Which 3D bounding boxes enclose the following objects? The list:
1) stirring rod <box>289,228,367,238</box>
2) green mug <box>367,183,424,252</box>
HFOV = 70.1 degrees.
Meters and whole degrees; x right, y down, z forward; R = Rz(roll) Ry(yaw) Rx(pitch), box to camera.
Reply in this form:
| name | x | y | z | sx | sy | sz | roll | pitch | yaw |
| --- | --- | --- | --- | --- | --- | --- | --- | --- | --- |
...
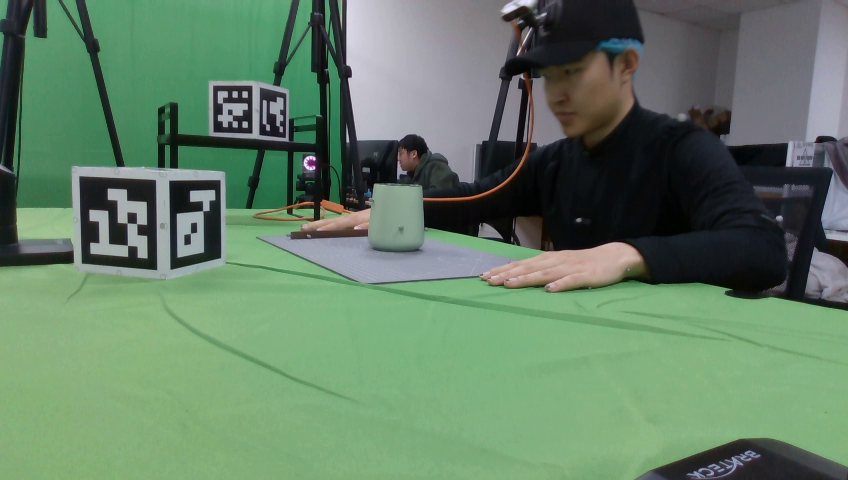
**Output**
| name | x | y | z | sx | sy | sz | roll | pitch | yaw |
| --- | --- | --- | --- | --- | --- | --- | --- | --- | --- |
| stirring rod | -0.161 | -0.013 | 1.093 | 0.177 | 0.014 | 0.006 | -3 | 3 | -36 |
| green mug | -0.053 | -0.039 | 0.990 | 0.093 | 0.105 | 0.124 | -1 | 8 | -29 |
